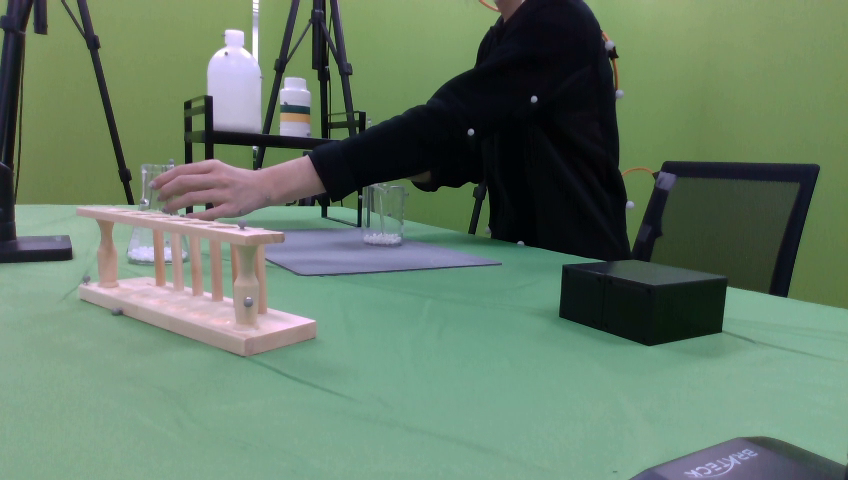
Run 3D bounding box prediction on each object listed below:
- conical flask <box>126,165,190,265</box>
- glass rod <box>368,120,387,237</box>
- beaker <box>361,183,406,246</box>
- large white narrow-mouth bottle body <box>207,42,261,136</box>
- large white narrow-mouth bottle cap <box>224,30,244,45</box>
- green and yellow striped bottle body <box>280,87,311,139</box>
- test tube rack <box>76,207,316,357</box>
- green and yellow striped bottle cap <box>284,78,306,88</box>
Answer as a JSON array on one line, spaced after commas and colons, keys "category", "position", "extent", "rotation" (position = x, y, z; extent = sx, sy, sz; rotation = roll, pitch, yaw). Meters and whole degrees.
[{"category": "conical flask", "position": [-0.332, -0.033, 0.756], "extent": [0.075, 0.122, 0.075], "rotation": [2, 8, 0]}, {"category": "glass rod", "position": [-0.079, -0.103, 1.006], "extent": [0.008, 0.199, 0.008], "rotation": [-8, -4, 0]}, {"category": "beaker", "position": [-0.067, -0.042, 0.993], "extent": [0.074, 0.100, 0.084], "rotation": [1, 8, -8]}, {"category": "large white narrow-mouth bottle body", "position": [-0.369, -0.303, 1.180], "extent": [0.102, 0.194, 0.102], "rotation": [3, 9, 0]}, {"category": "large white narrow-mouth bottle cap", "position": [-0.365, -0.389, 1.166], "extent": [0.038, 0.024, 0.037], "rotation": [3, 9, 0]}, {"category": "green and yellow striped bottle body", "position": [-0.269, -0.274, 1.266], "extent": [0.063, 0.119, 0.063], "rotation": [3, 7, 0]}, {"category": "test tube rack", "position": [-0.196, 0.023, 0.500], "extent": [0.241, 0.085, 0.067], "rotation": [8, 9, 36]}, {"category": "green and yellow striped bottle cap", "position": [-0.268, -0.325, 1.259], "extent": [0.045, 0.020, 0.045], "rotation": [5, 7, 0]}]
